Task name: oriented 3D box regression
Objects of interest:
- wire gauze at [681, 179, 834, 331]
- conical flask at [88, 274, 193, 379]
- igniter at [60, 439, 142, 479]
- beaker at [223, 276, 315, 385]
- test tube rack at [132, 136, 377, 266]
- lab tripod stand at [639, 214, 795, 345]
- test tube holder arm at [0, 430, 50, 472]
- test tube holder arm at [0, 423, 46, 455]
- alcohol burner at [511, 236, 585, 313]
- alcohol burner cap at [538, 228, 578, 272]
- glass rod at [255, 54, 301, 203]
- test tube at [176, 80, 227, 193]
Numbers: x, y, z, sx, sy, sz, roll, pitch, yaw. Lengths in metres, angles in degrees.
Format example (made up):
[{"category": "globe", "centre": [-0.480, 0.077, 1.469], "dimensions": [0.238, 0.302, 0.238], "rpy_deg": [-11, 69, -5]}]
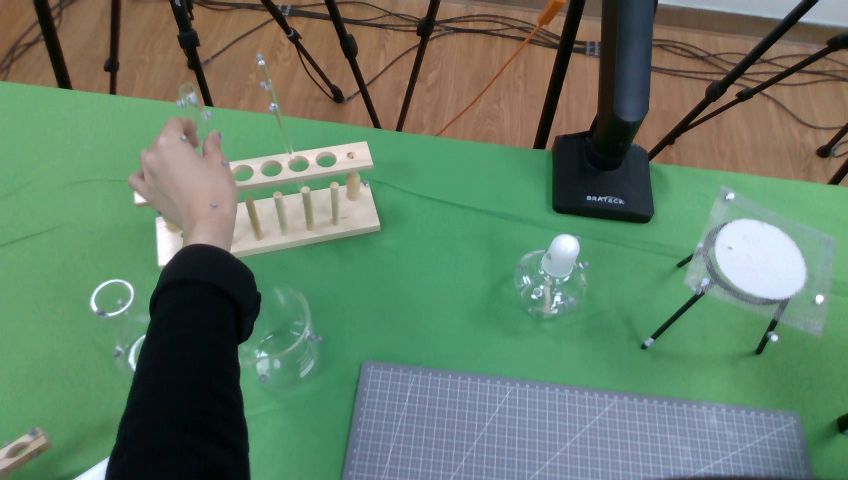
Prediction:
[{"category": "wire gauze", "centre": [0.313, 0.011, 0.560], "dimensions": [0.121, 0.011, 0.124], "rpy_deg": [26, 61, 10]}, {"category": "conical flask", "centre": [-0.268, 0.076, 0.564], "dimensions": [0.075, 0.123, 0.074], "rpy_deg": [2, 58, -3]}, {"category": "igniter", "centre": [-0.352, 0.248, 0.454], "dimensions": [0.276, 0.025, 0.057], "rpy_deg": [-33, 68, -25]}, {"category": "beaker", "centre": [-0.144, 0.093, 0.577], "dimensions": [0.074, 0.101, 0.083], "rpy_deg": [20, 60, 9]}, {"category": "test tube rack", "centre": [-0.177, -0.043, 0.664], "dimensions": [0.243, 0.086, 0.066], "rpy_deg": [-11, 60, -11]}, {"category": "lab tripod stand", "centre": [0.301, 0.047, 0.617], "dimensions": [0.148, 0.132, 0.147], "rpy_deg": [3, 58, -4]}, {"category": "test tube holder arm", "centre": [-0.354, 0.187, 0.495], "dimensions": [0.088, 0.015, 0.010], "rpy_deg": [-31, 63, -21]}, {"category": "test tube holder arm", "centre": [-0.393, 0.205, 0.480], "dimensions": [0.178, 0.015, 0.013], "rpy_deg": [-32, 64, -22]}, {"category": "alcohol burner", "centre": [0.133, 0.027, 0.629], "dimensions": [0.078, 0.120, 0.077], "rpy_deg": [3, 57, -4]}, {"category": "alcohol burner cap", "centre": [0.134, 0.007, 0.598], "dimensions": [0.034, 0.048, 0.033], "rpy_deg": [3, 58, -4]}, {"category": "glass rod", "centre": [-0.147, -0.105, 0.626], "dimensions": [0.008, 0.201, 0.008], "rpy_deg": [-1, 52, 2]}, {"category": "test tube", "centre": [-0.215, -0.096, 0.594], "dimensions": [0.017, 0.151, 0.017], "rpy_deg": [2, 57, -3]}]
